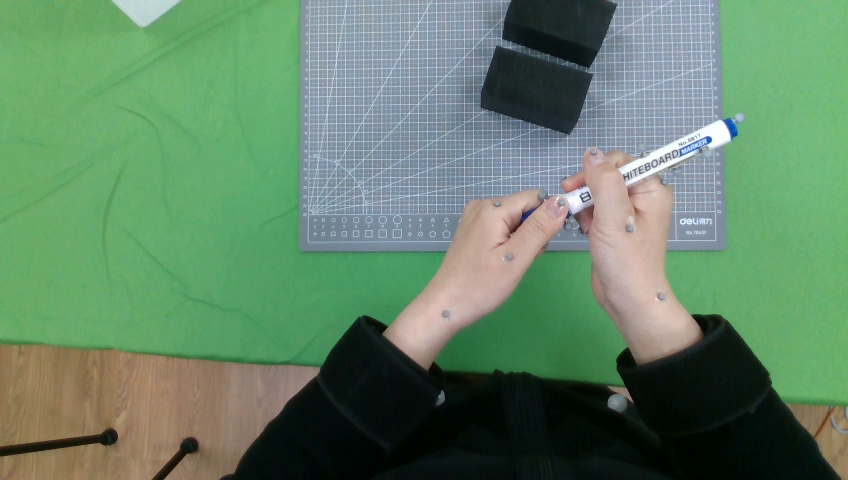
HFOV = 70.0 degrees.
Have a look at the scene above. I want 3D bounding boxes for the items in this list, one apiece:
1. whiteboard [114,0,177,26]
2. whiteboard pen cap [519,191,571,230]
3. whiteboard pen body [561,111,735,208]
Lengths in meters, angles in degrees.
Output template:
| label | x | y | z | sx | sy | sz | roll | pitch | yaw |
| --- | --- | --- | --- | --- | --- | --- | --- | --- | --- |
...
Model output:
| label | x | y | z | sx | sy | sz | roll | pitch | yaw |
| --- | --- | --- | --- | --- | --- | --- | --- | --- | --- |
| whiteboard | -0.309 | -0.406 | 0.570 | 0.217 | 0.308 | 0.142 | -36 | 65 | 2 |
| whiteboard pen cap | 0.084 | -0.020 | 0.417 | 0.033 | 0.018 | 0.018 | -26 | 85 | 14 |
| whiteboard pen body | 0.135 | -0.047 | 0.402 | 0.140 | 0.017 | 0.017 | -26 | 85 | 15 |
